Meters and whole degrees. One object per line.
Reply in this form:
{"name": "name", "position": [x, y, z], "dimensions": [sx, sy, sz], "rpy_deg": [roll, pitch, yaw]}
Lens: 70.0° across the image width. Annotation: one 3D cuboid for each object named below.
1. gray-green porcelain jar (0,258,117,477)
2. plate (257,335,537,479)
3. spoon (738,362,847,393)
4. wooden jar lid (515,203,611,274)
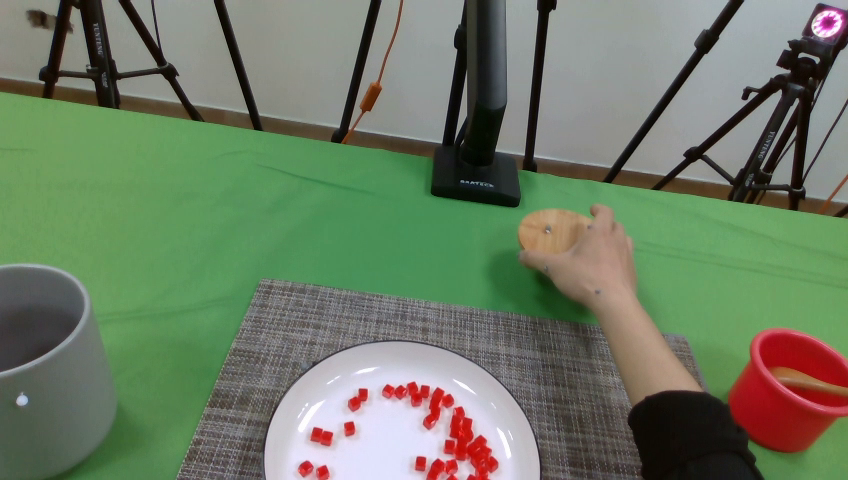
{"name": "gray-green porcelain jar", "position": [-0.279, 0.093, 0.423], "dimensions": [0.106, 0.127, 0.105], "rpy_deg": [7, 38, -5]}
{"name": "plate", "position": [-0.020, 0.162, 0.465], "dimensions": [0.208, 0.039, 0.205], "rpy_deg": [7, 38, -5]}
{"name": "spoon", "position": [0.361, 0.123, 0.516], "dimensions": [0.042, 0.021, 0.193], "rpy_deg": [-10, 3, -30]}
{"name": "wooden jar lid", "position": [0.154, -0.001, 0.675], "dimensions": [0.108, 0.021, 0.107], "rpy_deg": [6, 44, -5]}
